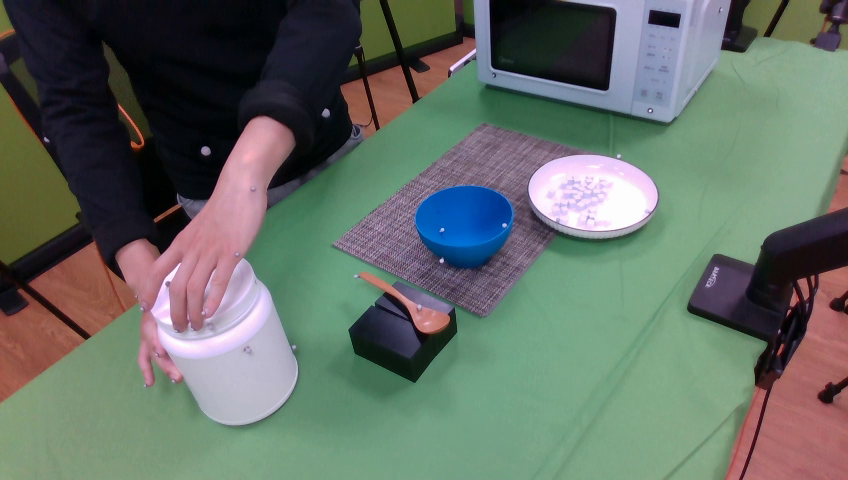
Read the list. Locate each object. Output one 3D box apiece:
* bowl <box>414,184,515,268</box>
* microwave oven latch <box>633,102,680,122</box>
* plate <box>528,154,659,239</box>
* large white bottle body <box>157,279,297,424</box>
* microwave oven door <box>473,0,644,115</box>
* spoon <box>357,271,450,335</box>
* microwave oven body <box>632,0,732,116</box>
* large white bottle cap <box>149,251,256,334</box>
[{"bbox_3d":[0.063,-0.010,0.923,0.151,0.077,0.150,-4,40,4],"label":"bowl"},{"bbox_3d":[0.444,-0.249,1.157,0.078,0.029,0.030,21,49,30],"label":"microwave oven latch"},{"bbox_3d":[0.274,-0.069,0.993,0.209,0.038,0.208,-2,42,2],"label":"plate"},{"bbox_3d":[-0.239,0.121,0.735,0.130,0.185,0.130,-4,41,4],"label":"large white bottle body"},{"bbox_3d":[0.257,-0.396,1.199,0.353,0.245,0.039,21,48,29],"label":"microwave oven door"},{"bbox_3d":[-0.034,0.078,0.812,0.042,0.022,0.192,-37,43,-22],"label":"spoon"},{"bbox_3d":[0.377,-0.462,1.267,0.438,0.261,0.327,21,48,30],"label":"microwave oven body"},{"bbox_3d":[-0.247,0.056,0.679,0.115,0.018,0.114,-3,41,3],"label":"large white bottle cap"}]
